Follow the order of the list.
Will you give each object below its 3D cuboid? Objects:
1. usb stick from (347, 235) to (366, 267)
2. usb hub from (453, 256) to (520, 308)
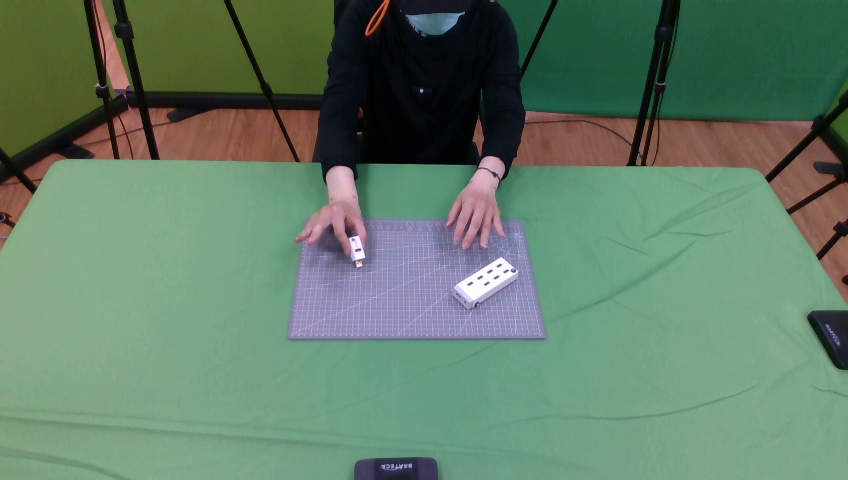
[{"bbox_3d":[-0.126,0.021,1.141,0.021,0.027,0.059,-15,91,-27],"label":"usb stick"},{"bbox_3d":[0.117,0.077,1.121,0.125,0.025,0.049,-29,55,-27],"label":"usb hub"}]
